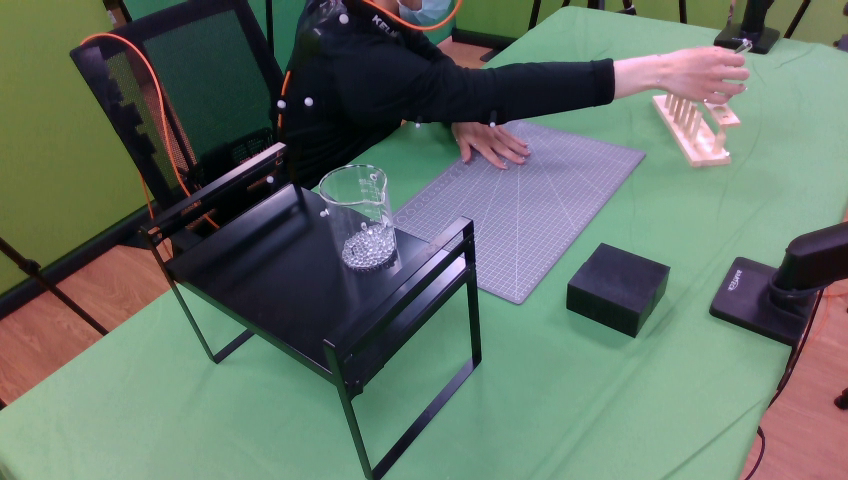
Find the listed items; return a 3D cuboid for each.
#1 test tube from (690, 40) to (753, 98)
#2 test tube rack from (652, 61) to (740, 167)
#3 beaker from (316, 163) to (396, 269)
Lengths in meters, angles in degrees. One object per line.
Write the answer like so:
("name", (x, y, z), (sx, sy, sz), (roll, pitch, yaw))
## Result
("test tube", (0.524, -0.299, 1.072), (0.017, 0.150, 0.017), (6, 66, -13))
("test tube rack", (0.500, -0.241, 1.130), (0.067, 0.085, 0.241), (-5, 41, 4))
("beaker", (-0.069, -0.024, 0.671), (0.083, 0.101, 0.074), (27, 52, 32))
